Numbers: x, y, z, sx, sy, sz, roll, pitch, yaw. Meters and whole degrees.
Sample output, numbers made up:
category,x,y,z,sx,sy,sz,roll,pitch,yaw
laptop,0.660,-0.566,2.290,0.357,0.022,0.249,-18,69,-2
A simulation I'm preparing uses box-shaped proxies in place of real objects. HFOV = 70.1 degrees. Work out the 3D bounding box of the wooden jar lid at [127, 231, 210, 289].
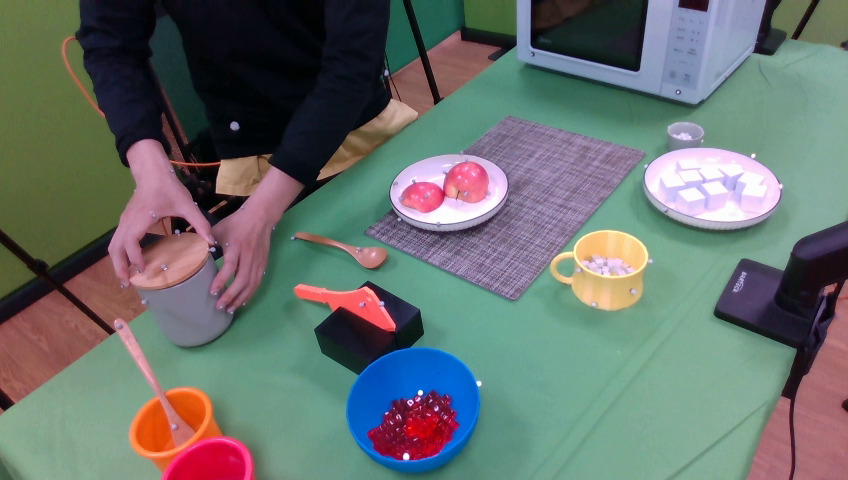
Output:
category,x,y,z,sx,sy,sz,roll,pitch,yaw
wooden jar lid,-0.339,0.029,0.809,0.108,0.021,0.108,-6,40,5

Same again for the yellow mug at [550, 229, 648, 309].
category,x,y,z,sx,sy,sz,roll,pitch,yaw
yellow mug,0.245,0.040,0.857,0.130,0.064,0.099,1,42,11

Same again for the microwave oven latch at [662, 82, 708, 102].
category,x,y,z,sx,sy,sz,roll,pitch,yaw
microwave oven latch,0.517,-0.298,1.203,0.078,0.029,0.030,28,53,35

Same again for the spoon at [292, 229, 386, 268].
category,x,y,z,sx,sy,sz,roll,pitch,yaw
spoon,-0.141,0.007,0.982,0.192,0.022,0.041,18,66,25

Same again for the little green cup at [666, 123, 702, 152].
category,x,y,z,sx,sy,sz,roll,pitch,yaw
little green cup,0.472,-0.183,1.103,0.061,0.039,0.061,-5,41,5

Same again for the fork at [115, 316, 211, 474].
category,x,y,z,sx,sy,sz,roll,pitch,yaw
fork,-0.308,0.179,0.708,0.028,0.018,0.207,-30,89,-22

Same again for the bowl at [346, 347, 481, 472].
category,x,y,z,sx,sy,sz,roll,pitch,yaw
bowl,-0.008,0.205,0.691,0.151,0.077,0.150,-4,40,4

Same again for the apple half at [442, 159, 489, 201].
category,x,y,z,sx,sy,sz,roll,pitch,yaw
apple half,0.074,-0.110,1.047,0.080,0.053,0.075,21,45,30

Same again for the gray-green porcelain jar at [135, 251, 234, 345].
category,x,y,z,sx,sy,sz,roll,pitch,yaw
gray-green porcelain jar,-0.333,0.076,0.849,0.106,0.127,0.105,-4,41,4

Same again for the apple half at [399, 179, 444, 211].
category,x,y,z,sx,sy,sz,roll,pitch,yaw
apple half,-0.004,-0.087,1.045,0.081,0.033,0.081,-2,43,2

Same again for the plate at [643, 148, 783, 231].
category,x,y,z,sx,sy,sz,roll,pitch,yaw
plate,0.464,-0.079,0.986,0.207,0.039,0.206,-4,40,4

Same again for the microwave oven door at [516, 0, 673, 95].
category,x,y,z,sx,sy,sz,roll,pitch,yaw
microwave oven door,0.344,-0.458,1.256,0.353,0.245,0.039,26,51,33

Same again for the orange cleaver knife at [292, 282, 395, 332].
category,x,y,z,sx,sy,sz,roll,pitch,yaw
orange cleaver knife,-0.116,0.091,0.835,0.209,0.077,0.012,2,32,48

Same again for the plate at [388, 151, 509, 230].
category,x,y,z,sx,sy,sz,roll,pitch,yaw
plate,0.044,-0.082,1.042,0.209,0.038,0.208,-4,40,4

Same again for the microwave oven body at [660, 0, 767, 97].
category,x,y,z,sx,sy,sz,roll,pitch,yaw
microwave oven body,0.473,-0.517,1.314,0.438,0.261,0.327,26,51,34
